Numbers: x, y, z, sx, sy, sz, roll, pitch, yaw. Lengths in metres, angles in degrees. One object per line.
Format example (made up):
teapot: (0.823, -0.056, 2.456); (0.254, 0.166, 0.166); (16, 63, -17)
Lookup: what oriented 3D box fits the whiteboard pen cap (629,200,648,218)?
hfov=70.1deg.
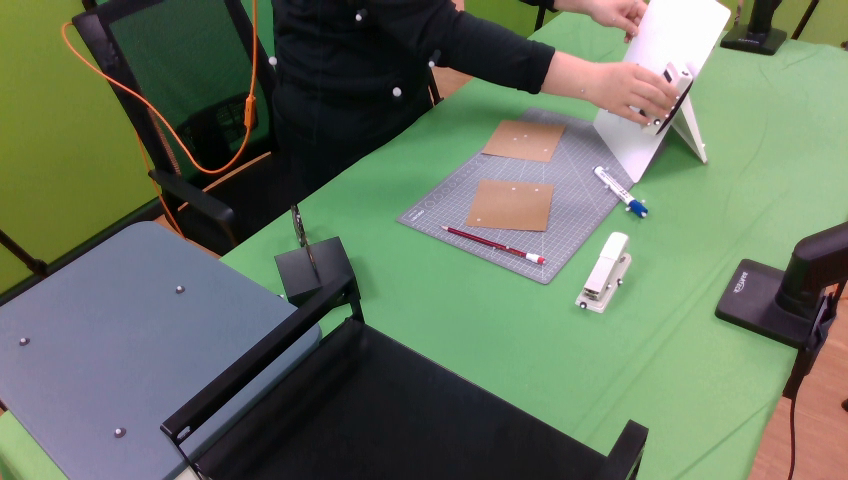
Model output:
whiteboard pen cap: (0.348, -0.052, 0.983); (0.018, 0.018, 0.033); (-18, 42, -12)

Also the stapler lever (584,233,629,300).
stapler lever: (0.261, 0.034, 0.858); (0.026, 0.040, 0.118); (16, 46, 29)

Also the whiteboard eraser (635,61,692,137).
whiteboard eraser: (0.383, -0.223, 0.962); (0.042, 0.113, 0.055); (12, 44, -9)

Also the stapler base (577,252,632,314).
stapler base: (0.264, 0.051, 0.875); (0.041, 0.024, 0.131); (16, 47, 29)

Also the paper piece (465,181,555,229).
paper piece: (0.150, -0.062, 1.034); (0.137, 0.009, 0.136); (4, 37, 17)

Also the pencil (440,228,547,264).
pencil: (0.106, 0.006, 0.957); (0.192, 0.012, 0.012); (18, 46, 30)

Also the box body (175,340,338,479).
box body: (-0.311, 0.165, 0.720); (0.361, 0.161, 0.255); (23, 48, 32)

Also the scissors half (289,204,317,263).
scissors half: (-0.189, -0.011, 0.944); (0.013, 0.040, 0.173); (-14, 37, -18)

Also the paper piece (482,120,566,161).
paper piece: (0.198, -0.199, 1.188); (0.135, 0.004, 0.135); (11, 43, 21)

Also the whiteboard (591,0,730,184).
whiteboard: (0.451, -0.270, 1.055); (0.144, 0.305, 0.216); (7, 37, -14)

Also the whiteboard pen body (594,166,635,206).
whiteboard pen body: (0.331, -0.085, 1.027); (0.017, 0.017, 0.139); (-17, 42, -11)

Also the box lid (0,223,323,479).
box lid: (-0.318, 0.109, 0.671); (0.368, 0.015, 0.264); (24, 49, 31)

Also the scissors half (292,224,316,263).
scissors half: (-0.187, 0.007, 0.954); (0.013, 0.040, 0.174); (-19, 21, -15)
